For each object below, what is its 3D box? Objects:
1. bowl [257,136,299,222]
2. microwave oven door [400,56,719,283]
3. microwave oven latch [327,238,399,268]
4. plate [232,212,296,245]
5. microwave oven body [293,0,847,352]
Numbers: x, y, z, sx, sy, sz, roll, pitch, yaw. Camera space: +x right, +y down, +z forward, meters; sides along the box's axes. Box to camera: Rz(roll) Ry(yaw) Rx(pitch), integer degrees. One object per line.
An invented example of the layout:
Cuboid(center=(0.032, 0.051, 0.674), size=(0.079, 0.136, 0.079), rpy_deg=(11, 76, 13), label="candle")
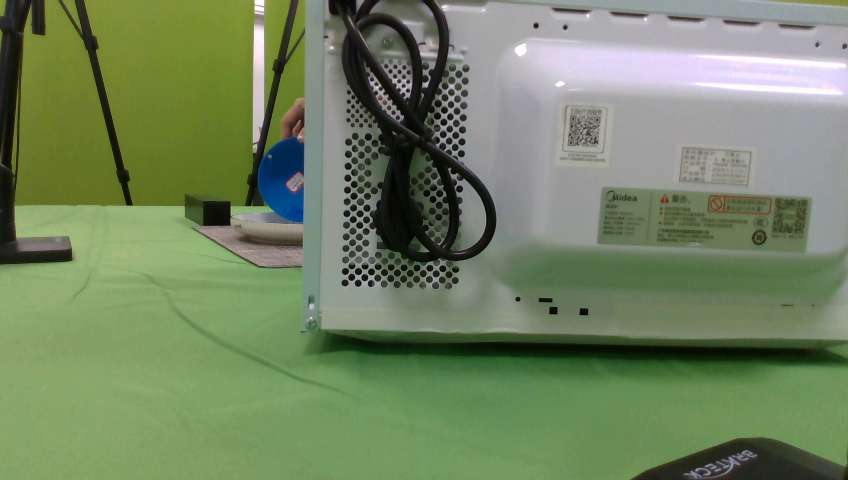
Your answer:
Cuboid(center=(-0.224, -0.106, 1.080), size=(0.152, 0.151, 0.076), rpy_deg=(0, 3, -21), label="bowl")
Cuboid(center=(0.155, -0.077, 0.698), size=(0.356, 0.243, 0.039), rpy_deg=(2, 8, -5), label="microwave oven door")
Cuboid(center=(-0.069, 0.015, 0.694), size=(0.079, 0.029, 0.030), rpy_deg=(3, 7, -3), label="microwave oven latch")
Cuboid(center=(-0.214, -0.020, 1.018), size=(0.208, 0.039, 0.207), rpy_deg=(2, 7, 0), label="plate")
Cuboid(center=(0.122, -0.055, 0.550), size=(0.442, 0.260, 0.325), rpy_deg=(3, 7, -5), label="microwave oven body")
